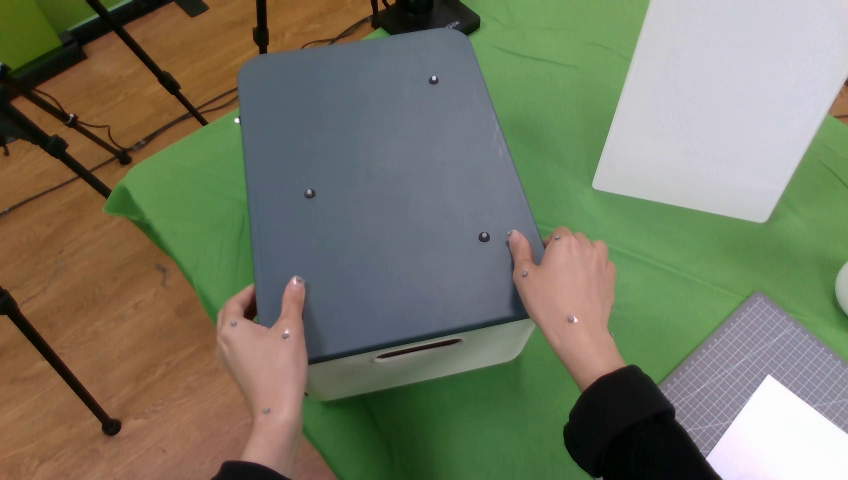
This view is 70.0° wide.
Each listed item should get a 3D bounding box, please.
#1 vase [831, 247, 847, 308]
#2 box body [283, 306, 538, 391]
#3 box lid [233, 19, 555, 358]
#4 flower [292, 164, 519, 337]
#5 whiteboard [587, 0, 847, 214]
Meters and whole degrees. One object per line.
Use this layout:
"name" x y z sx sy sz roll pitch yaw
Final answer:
"vase" 0.511 0.008 0.616 0.098 0.201 0.097 0 58 0
"box body" -0.045 -0.040 0.662 0.254 0.161 0.360 -11 61 -6
"box lid" -0.046 -0.078 0.599 0.263 0.015 0.368 -11 61 -7
"flower" -0.040 -0.004 0.721 0.359 0.038 0.044 35 97 25
"whiteboard" 0.343 -0.211 0.715 0.217 0.308 0.143 13 42 8
